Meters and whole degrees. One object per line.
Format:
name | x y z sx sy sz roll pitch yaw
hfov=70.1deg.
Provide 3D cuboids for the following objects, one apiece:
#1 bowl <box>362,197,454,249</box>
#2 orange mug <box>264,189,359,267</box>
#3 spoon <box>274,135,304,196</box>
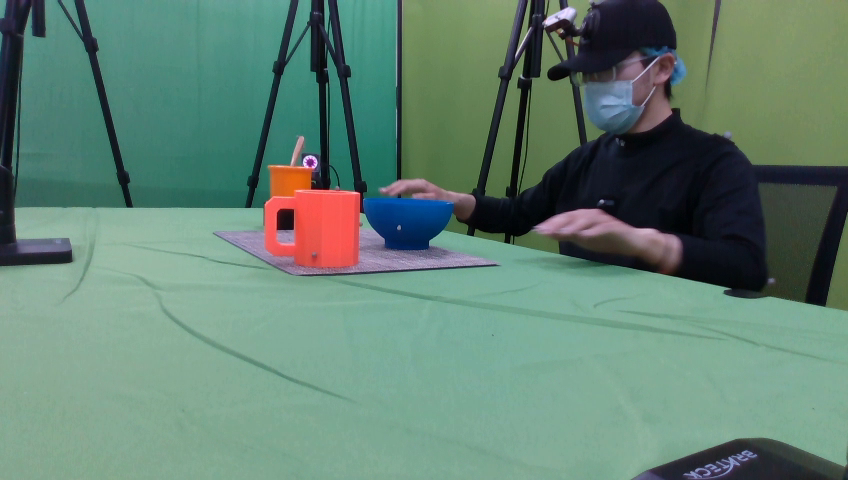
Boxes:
bowl | -0.027 -0.029 0.991 0.151 0.077 0.151 2 7 0
orange mug | -0.147 -0.019 0.794 0.127 0.100 0.083 4 6 -19
spoon | -0.270 -0.153 1.246 0.041 0.193 0.022 -1 -37 9
